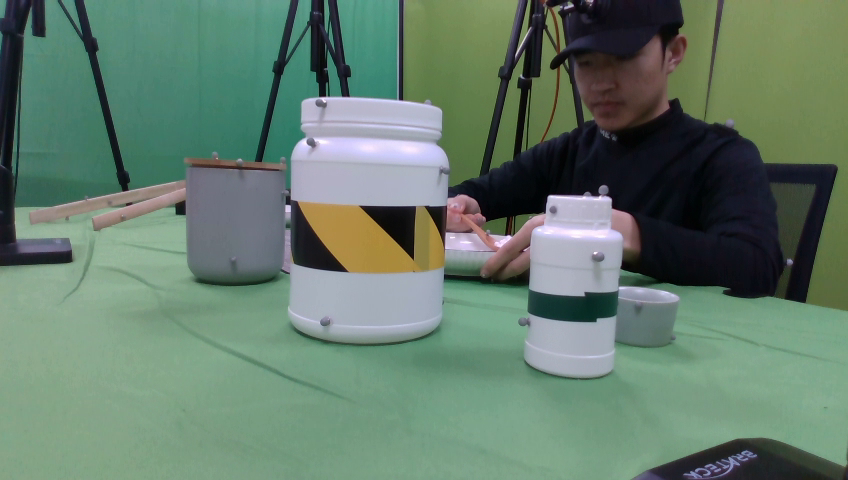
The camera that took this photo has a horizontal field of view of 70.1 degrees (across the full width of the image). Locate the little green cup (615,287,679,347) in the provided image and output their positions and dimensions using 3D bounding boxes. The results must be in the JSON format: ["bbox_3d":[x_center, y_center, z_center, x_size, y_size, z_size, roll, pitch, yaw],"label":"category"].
[{"bbox_3d":[0.180,0.064,0.506,0.061,0.038,0.061,1,8,0],"label":"little green cup"}]

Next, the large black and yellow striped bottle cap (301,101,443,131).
[{"bbox_3d":[-0.042,-0.100,0.491,0.115,0.019,0.115,1,8,0],"label":"large black and yellow striped bottle cap"}]

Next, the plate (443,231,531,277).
[{"bbox_3d":[0.055,0.017,0.815,0.209,0.038,0.209,2,7,0],"label":"plate"}]

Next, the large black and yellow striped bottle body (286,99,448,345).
[{"bbox_3d":[-0.047,-0.018,0.501,0.131,0.184,0.130,2,7,0],"label":"large black and yellow striped bottle body"}]

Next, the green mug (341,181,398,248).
[{"bbox_3d":[-0.090,-0.044,0.997,0.093,0.105,0.125,1,7,-8],"label":"green mug"}]

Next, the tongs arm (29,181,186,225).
[{"bbox_3d":[-0.609,-0.083,1.245,0.050,0.026,0.386,5,16,23],"label":"tongs arm"}]

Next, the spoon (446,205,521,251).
[{"bbox_3d":[0.060,-0.028,0.895,0.193,0.021,0.042,35,22,27],"label":"spoon"}]

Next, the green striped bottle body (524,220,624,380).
[{"bbox_3d":[0.104,0.031,0.422,0.063,0.119,0.063,2,8,0],"label":"green striped bottle body"}]

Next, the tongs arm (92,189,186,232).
[{"bbox_3d":[-0.534,-0.076,1.221,0.028,0.028,0.388,-2,15,12],"label":"tongs arm"}]

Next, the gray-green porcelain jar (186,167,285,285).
[{"bbox_3d":[-0.212,-0.017,0.682,0.106,0.126,0.106,2,7,0],"label":"gray-green porcelain jar"}]

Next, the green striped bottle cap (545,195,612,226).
[{"bbox_3d":[0.106,-0.020,0.414,0.044,0.020,0.044,2,4,0],"label":"green striped bottle cap"}]

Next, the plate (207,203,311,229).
[{"bbox_3d":[-0.342,-0.050,1.259,0.208,0.039,0.207,2,7,0],"label":"plate"}]

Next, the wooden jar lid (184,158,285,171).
[{"bbox_3d":[-0.210,-0.078,0.674,0.108,0.020,0.108,5,6,0],"label":"wooden jar lid"}]

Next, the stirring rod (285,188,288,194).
[{"bbox_3d":[-0.353,-0.122,1.519,0.006,0.014,0.176,1,6,2],"label":"stirring rod"}]
